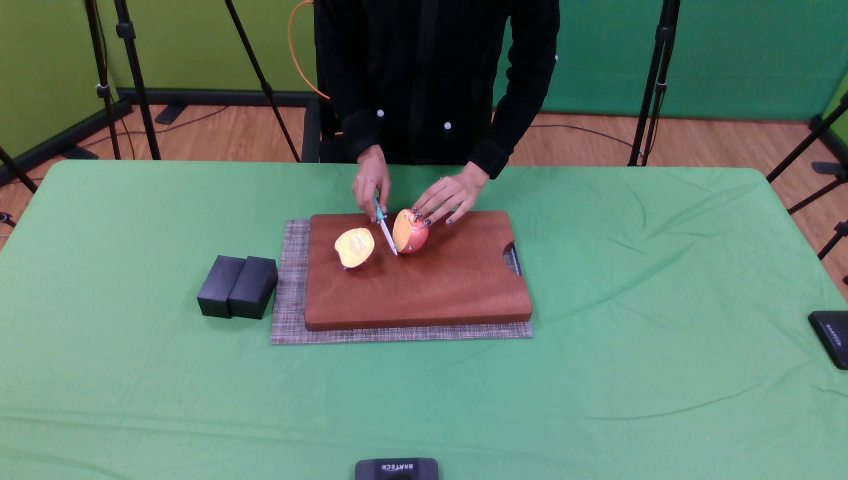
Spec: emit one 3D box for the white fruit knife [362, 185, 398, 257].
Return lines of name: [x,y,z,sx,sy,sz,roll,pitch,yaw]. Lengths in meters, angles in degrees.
white fruit knife: [-0.083,-0.041,1.158,0.016,0.027,0.206,-11,47,-19]

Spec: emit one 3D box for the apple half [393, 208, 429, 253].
apple half: [-0.021,-0.014,1.136,0.053,0.075,0.080,10,40,-28]

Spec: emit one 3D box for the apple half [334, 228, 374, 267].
apple half: [-0.123,0.017,1.120,0.081,0.033,0.081,-7,61,14]
